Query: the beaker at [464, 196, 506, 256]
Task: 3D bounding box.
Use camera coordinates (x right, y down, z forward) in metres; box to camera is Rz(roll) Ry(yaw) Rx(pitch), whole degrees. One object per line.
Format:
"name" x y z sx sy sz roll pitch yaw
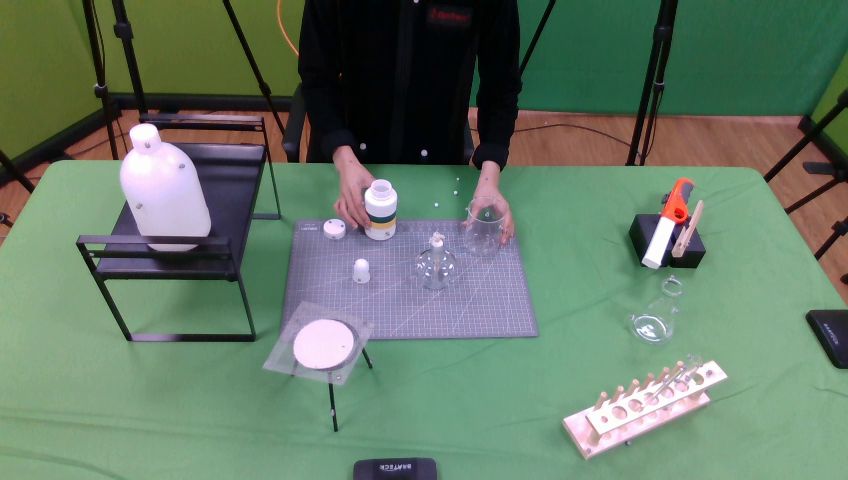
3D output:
"beaker" 0.117 -0.026 1.174 0.074 0.101 0.083 21 48 15

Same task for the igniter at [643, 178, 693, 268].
"igniter" 0.488 -0.042 1.205 0.057 0.025 0.276 30 51 11

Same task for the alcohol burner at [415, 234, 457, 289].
"alcohol burner" 0.022 0.033 1.099 0.078 0.120 0.077 1 47 -1

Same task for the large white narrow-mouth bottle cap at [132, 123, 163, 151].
"large white narrow-mouth bottle cap" -0.371 -0.138 0.812 0.038 0.024 0.037 3 46 -3

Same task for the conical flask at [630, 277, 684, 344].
"conical flask" 0.408 0.117 1.045 0.075 0.122 0.075 2 46 -2

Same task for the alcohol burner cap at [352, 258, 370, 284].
"alcohol burner cap" -0.117 0.055 1.118 0.034 0.048 0.033 2 46 -2

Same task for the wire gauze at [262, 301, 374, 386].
"wire gauze" -0.150 0.148 0.873 0.121 0.011 0.124 14 46 12

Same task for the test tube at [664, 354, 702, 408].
"test tube" 0.385 0.215 0.906 0.017 0.151 0.017 -1 49 1

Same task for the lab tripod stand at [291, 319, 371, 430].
"lab tripod stand" -0.146 0.193 0.923 0.148 0.132 0.147 1 47 -1

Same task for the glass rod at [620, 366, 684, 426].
"glass rod" 0.322 0.227 0.866 0.008 0.200 0.008 6 51 -7

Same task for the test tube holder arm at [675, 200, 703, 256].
"test tube holder arm" 0.523 -0.025 1.190 0.013 0.015 0.178 1 36 41

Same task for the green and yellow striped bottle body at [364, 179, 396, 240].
"green and yellow striped bottle body" -0.086 -0.062 1.177 0.063 0.120 0.063 3 46 -3

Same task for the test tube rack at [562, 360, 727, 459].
"test tube rack" 0.341 0.247 0.940 0.243 0.085 0.066 -16 49 -19

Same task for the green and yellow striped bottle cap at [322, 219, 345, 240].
"green and yellow striped bottle cap" -0.180 -0.021 1.206 0.045 0.020 0.045 1 45 -1

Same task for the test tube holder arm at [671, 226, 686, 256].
"test tube holder arm" 0.494 0.001 1.167 0.010 0.015 0.087 1 36 42

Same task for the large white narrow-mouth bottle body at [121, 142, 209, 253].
"large white narrow-mouth bottle body" -0.378 -0.077 0.875 0.102 0.195 0.101 3 46 -3
